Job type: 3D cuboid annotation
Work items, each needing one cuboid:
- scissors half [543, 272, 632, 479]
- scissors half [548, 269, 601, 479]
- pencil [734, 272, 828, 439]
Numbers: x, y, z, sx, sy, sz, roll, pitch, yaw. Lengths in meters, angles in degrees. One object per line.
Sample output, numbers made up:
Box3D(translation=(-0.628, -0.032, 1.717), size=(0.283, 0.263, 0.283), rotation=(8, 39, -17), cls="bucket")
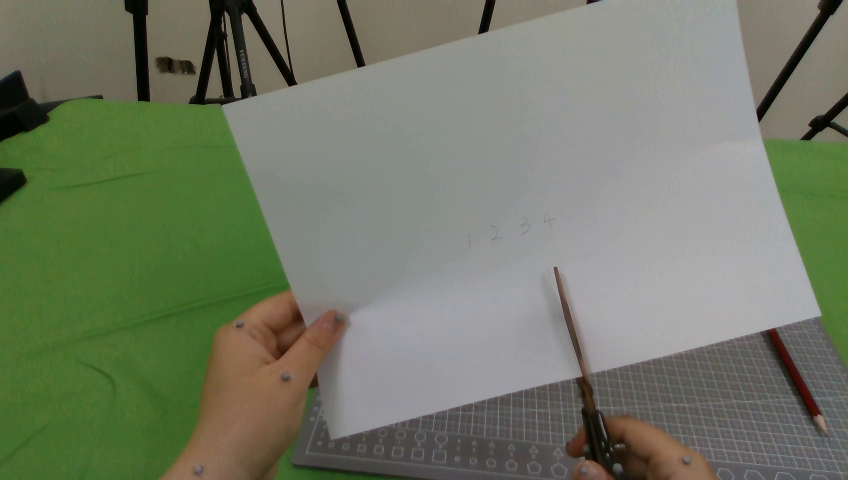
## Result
Box3D(translation=(0.096, 0.098, 0.346), size=(0.013, 0.040, 0.173), rotation=(-15, 66, -2), cls="scissors half")
Box3D(translation=(0.096, 0.102, 0.368), size=(0.013, 0.175, 0.040), rotation=(-14, 5, -7), cls="scissors half")
Box3D(translation=(0.314, 0.094, 0.540), size=(0.012, 0.012, 0.192), rotation=(2, 38, 2), cls="pencil")
